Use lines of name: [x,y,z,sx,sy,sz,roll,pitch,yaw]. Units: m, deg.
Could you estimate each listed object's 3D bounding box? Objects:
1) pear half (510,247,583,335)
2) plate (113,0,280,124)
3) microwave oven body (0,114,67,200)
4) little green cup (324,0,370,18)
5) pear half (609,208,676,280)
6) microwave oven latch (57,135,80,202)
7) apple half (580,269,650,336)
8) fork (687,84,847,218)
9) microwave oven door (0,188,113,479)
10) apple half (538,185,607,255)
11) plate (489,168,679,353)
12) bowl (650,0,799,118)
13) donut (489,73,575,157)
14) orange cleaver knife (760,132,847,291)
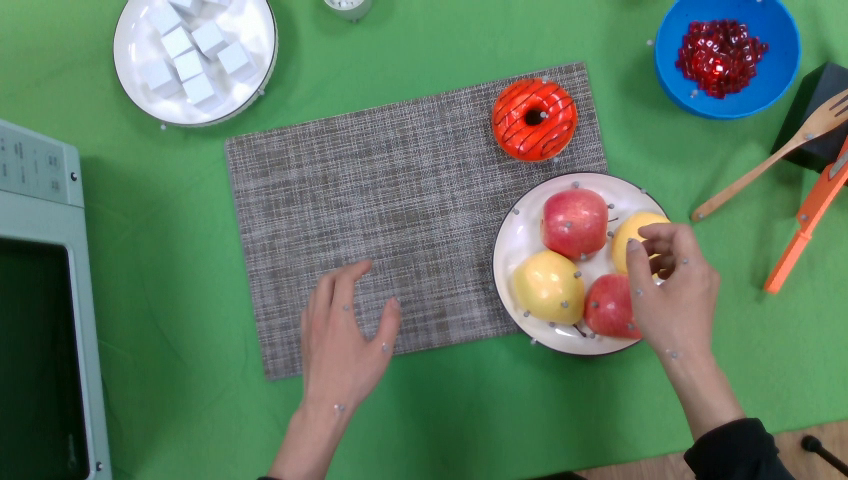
pear half: [0.147,0.062,0.676,0.076,0.056,0.110,-39,88,6]
plate: [-0.277,-0.243,0.752,0.207,0.039,0.207,0,86,5]
microwave oven body: [-0.572,0.103,0.639,0.326,0.261,0.440,-9,86,4]
little green cup: [-0.094,-0.304,0.740,0.061,0.039,0.061,0,86,6]
pear half: [0.237,0.008,0.672,0.070,0.031,0.088,22,101,32]
microwave oven latch: [-0.441,-0.086,0.737,0.030,0.029,0.079,-7,86,4]
apple half: [0.206,0.069,0.665,0.081,0.033,0.081,-1,88,30]
fork: [0.375,-0.092,0.659,0.207,0.018,0.028,-42,91,21]
microwave oven door: [-0.422,0.123,0.620,0.039,0.244,0.355,-9,85,5]
apple half: [0.166,-0.024,0.676,0.074,0.053,0.081,7,90,6]
plate: [0.179,0.023,0.689,0.209,0.038,0.208,0,86,5]
bowl: [0.321,-0.202,0.676,0.151,0.077,0.151,0,87,5]
donut: [0.124,-0.145,0.702,0.099,0.048,0.099,0,87,8]
orange cleaver knife: [0.422,-0.042,0.654,0.012,0.077,0.212,25,114,12]
